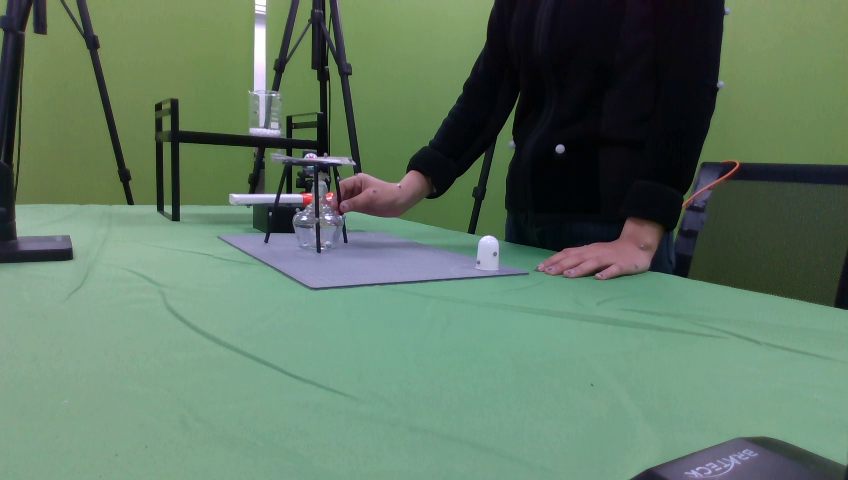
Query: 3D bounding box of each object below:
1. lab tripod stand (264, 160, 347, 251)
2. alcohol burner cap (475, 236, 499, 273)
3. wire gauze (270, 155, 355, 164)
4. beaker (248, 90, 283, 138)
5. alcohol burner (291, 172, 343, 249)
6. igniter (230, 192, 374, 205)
[{"bbox_3d":[-0.177,-0.056,0.929,0.148,0.131,0.148,1,9,0],"label":"lab tripod stand"},{"bbox_3d":[0.084,0.019,0.799,0.034,0.048,0.034,2,6,0],"label":"alcohol burner cap"},{"bbox_3d":[-0.173,-0.123,0.925,0.125,0.011,0.121,0,8,-12],"label":"wire gauze"},{"bbox_3d":[-0.354,-0.278,1.340,0.074,0.100,0.084,6,9,26],"label":"beaker"},{"bbox_3d":[-0.162,-0.045,0.922,0.078,0.119,0.078,5,7,0],"label":"alcohol burner"},{"bbox_3d":[-0.228,-0.079,1.164,0.278,0.025,0.057,-2,15,-30],"label":"igniter"}]
